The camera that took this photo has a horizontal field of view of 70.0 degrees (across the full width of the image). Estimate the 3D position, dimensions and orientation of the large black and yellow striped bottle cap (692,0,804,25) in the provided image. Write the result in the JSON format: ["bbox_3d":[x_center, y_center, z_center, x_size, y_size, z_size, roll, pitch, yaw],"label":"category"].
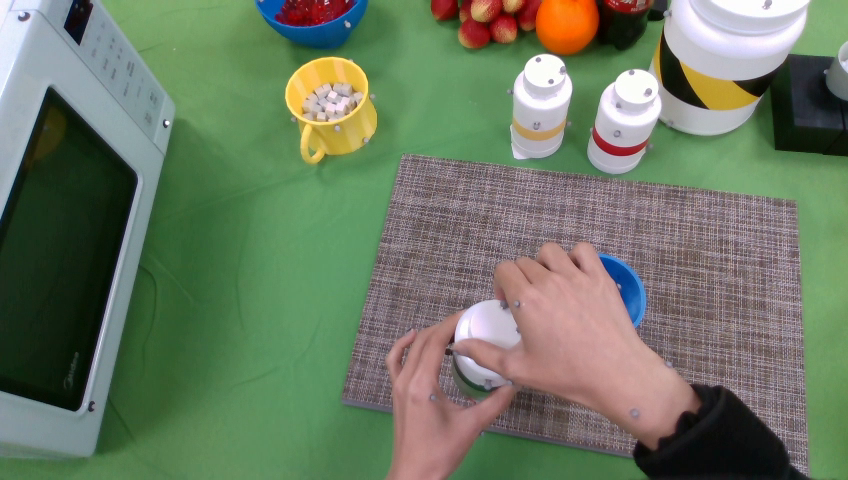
[{"bbox_3d":[0.311,-0.256,0.582,0.115,0.019,0.114,-2,64,5],"label":"large black and yellow striped bottle cap"}]

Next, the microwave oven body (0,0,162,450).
[{"bbox_3d":[-0.496,-0.031,0.602,0.326,0.262,0.438,-1,66,5],"label":"microwave oven body"}]

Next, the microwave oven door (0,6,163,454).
[{"bbox_3d":[-0.352,0.003,0.568,0.039,0.246,0.353,-1,66,6],"label":"microwave oven door"}]

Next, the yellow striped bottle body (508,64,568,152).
[{"bbox_3d":[0.127,-0.157,0.682,0.063,0.121,0.062,-2,65,5],"label":"yellow striped bottle body"}]

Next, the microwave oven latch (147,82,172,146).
[{"bbox_3d":[-0.335,-0.155,0.749,0.030,0.030,0.078,1,67,6],"label":"microwave oven latch"}]

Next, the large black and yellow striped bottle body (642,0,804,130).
[{"bbox_3d":[0.320,-0.222,0.659,0.131,0.185,0.129,-2,66,5],"label":"large black and yellow striped bottle body"}]

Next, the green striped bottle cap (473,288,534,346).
[{"bbox_3d":[0.060,0.059,0.464,0.044,0.020,0.044,-1,89,32],"label":"green striped bottle cap"}]

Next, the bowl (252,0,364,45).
[{"bbox_3d":[-0.144,-0.314,0.801,0.151,0.077,0.150,-2,66,4],"label":"bowl"}]

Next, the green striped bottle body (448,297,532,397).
[{"bbox_3d":[0.053,0.087,0.503,0.063,0.120,0.062,0,64,0],"label":"green striped bottle body"}]

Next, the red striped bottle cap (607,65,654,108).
[{"bbox_3d":[0.210,-0.157,0.617,0.044,0.018,0.044,0,65,1],"label":"red striped bottle cap"}]

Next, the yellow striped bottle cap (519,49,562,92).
[{"bbox_3d":[0.122,-0.178,0.635,0.044,0.019,0.044,-2,67,4],"label":"yellow striped bottle cap"}]

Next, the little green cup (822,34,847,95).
[{"bbox_3d":[0.467,-0.189,0.655,0.061,0.039,0.061,-1,65,3],"label":"little green cup"}]

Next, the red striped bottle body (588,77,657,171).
[{"bbox_3d":[0.216,-0.134,0.664,0.063,0.121,0.062,-4,63,8],"label":"red striped bottle body"}]

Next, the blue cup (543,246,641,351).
[{"bbox_3d":[0.154,0.066,0.586,0.092,0.101,0.092,-1,65,3],"label":"blue cup"}]

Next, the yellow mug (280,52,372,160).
[{"bbox_3d":[-0.123,-0.156,0.735,0.099,0.064,0.130,18,69,12],"label":"yellow mug"}]
